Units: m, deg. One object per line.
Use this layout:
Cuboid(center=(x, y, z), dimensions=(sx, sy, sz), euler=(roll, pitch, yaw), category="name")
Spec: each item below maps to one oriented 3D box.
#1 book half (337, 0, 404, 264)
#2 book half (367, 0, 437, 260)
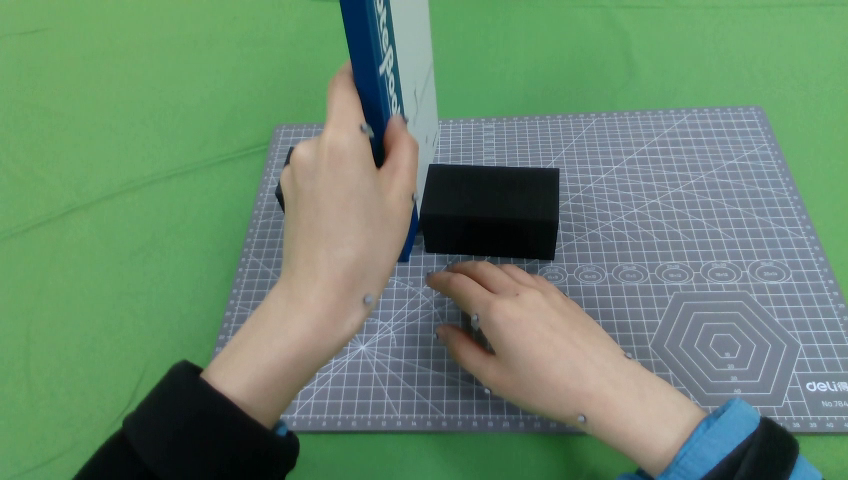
Cuboid(center=(-0.018, -0.107, 0.385), dimensions=(0.016, 0.212, 0.147), euler=(3, 47, 9), category="book half")
Cuboid(center=(-0.011, -0.108, 0.386), dimensions=(0.007, 0.212, 0.142), euler=(4, 47, 10), category="book half")
